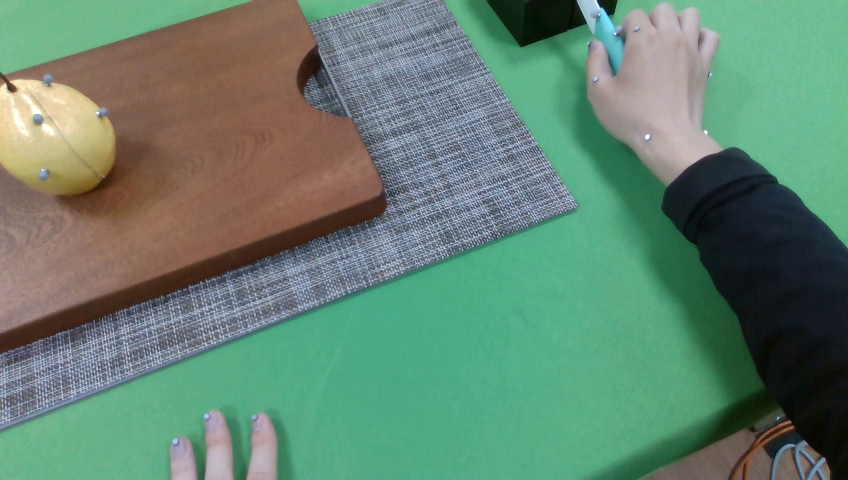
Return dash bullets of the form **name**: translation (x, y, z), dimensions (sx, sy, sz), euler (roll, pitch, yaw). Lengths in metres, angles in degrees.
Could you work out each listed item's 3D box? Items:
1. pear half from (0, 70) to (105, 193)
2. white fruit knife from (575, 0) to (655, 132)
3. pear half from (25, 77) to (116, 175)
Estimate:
- **pear half**: translation (-0.285, -0.078, 0.434), dimensions (0.056, 0.111, 0.075), euler (-36, 60, -16)
- **white fruit knife**: translation (0.151, -0.189, 0.526), dimensions (0.016, 0.027, 0.206), euler (-17, 75, -16)
- **pear half**: translation (-0.255, -0.091, 0.452), dimensions (0.031, 0.089, 0.070), euler (-35, 60, -17)
